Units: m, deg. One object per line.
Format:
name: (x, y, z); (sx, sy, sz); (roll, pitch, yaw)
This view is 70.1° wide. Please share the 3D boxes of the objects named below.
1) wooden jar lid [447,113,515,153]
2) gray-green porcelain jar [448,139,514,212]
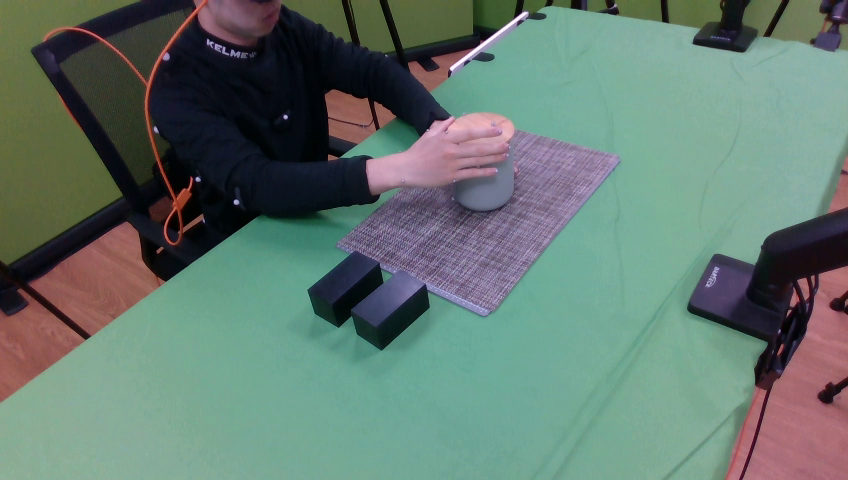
wooden jar lid: (0.091, -0.169, 0.968); (0.108, 0.021, 0.108); (-4, 42, 4)
gray-green porcelain jar: (0.097, -0.119, 1.008); (0.106, 0.127, 0.105); (-4, 41, 4)
